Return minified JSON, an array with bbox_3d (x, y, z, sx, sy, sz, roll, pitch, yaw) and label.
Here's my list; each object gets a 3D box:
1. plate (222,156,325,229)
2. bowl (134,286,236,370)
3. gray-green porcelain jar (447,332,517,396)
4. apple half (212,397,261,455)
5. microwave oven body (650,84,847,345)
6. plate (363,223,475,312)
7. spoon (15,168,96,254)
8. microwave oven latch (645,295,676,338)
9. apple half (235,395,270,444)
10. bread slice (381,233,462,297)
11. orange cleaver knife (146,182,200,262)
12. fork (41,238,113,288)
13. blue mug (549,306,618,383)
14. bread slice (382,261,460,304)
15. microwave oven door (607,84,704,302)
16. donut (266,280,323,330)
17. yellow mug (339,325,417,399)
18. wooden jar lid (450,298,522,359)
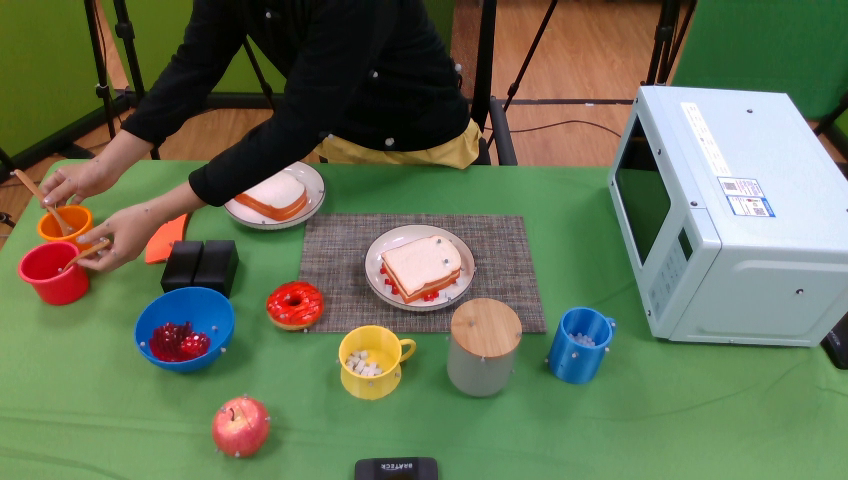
[{"bbox_3d":[-0.308,-0.095,1.251,0.209,0.038,0.208,3,46,-3],"label":"plate"},{"bbox_3d":[-0.377,0.156,0.981,0.151,0.077,0.150,2,46,-2],"label":"bowl"},{"bbox_3d":[0.090,0.178,0.960,0.106,0.127,0.105,2,46,-2],"label":"gray-green porcelain jar"},{"bbox_3d":[-0.276,0.277,0.877,0.053,0.075,0.080,-29,58,-21],"label":"apple half"},{"bbox_3d":[0.569,-0.054,1.116,0.326,0.261,0.439,2,46,-1],"label":"microwave oven body"},{"bbox_3d":[-0.009,0.054,1.126,0.208,0.039,0.206,2,46,-2],"label":"plate"},{"bbox_3d":[-0.674,-0.053,1.108,0.041,0.021,0.194,-44,108,-36],"label":"spoon"},{"bbox_3d":[0.412,0.133,1.061,0.030,0.029,0.078,3,46,0],"label":"microwave oven latch"},{"bbox_3d":[-0.245,0.260,0.892,0.033,0.082,0.081,-29,55,-22],"label":"apple half"},{"bbox_3d":[0.001,0.038,1.108,0.134,0.018,0.106,-25,56,-22],"label":"bread slice"},{"bbox_3d":[-0.494,-0.039,1.199,0.077,0.012,0.210,-3,48,2],"label":"orange cleaver knife"},{"bbox_3d":[-0.591,0.040,1.029,0.207,0.019,0.028,-28,37,29],"label":"fork"},{"bbox_3d":[0.269,0.167,0.997,0.116,0.106,0.082,-19,51,-20],"label":"blue mug"},{"bbox_3d":[0.000,0.055,1.129,0.131,0.019,0.104,-22,51,-21],"label":"bread slice"},{"bbox_3d":[0.424,-0.096,1.137,0.039,0.245,0.353,3,46,-1],"label":"microwave oven door"},{"bbox_3d":[-0.224,0.113,1.051,0.099,0.048,0.098,2,46,-2],"label":"donut"},{"bbox_3d":[-0.072,0.191,0.978,0.131,0.064,0.099,-17,50,-20],"label":"yellow mug"},{"bbox_3d":[0.093,0.135,0.914,0.108,0.021,0.107,3,48,-3],"label":"wooden jar lid"}]
